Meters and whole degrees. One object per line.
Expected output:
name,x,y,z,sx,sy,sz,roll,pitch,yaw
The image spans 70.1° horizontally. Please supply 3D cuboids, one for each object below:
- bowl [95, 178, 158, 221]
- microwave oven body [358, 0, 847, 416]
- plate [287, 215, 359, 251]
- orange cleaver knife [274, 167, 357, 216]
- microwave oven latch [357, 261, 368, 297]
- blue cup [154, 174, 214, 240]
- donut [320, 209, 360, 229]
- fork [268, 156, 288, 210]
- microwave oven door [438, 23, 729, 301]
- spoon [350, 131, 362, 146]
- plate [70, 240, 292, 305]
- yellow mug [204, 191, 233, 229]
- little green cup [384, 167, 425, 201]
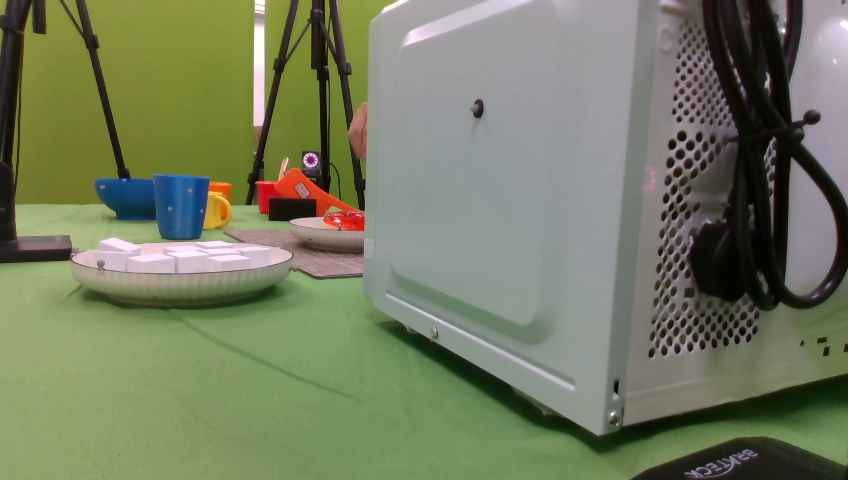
bowl,-0.576,-0.081,1.217,0.151,0.077,0.151,3,8,0
microwave oven body,0.211,-0.046,0.474,0.444,0.260,0.324,-1,7,-28
plate,-0.111,-0.012,0.960,0.209,0.038,0.209,3,8,0
orange cleaver knife,-0.238,-0.090,1.381,0.212,0.077,0.012,31,0,-19
microwave oven latch,-0.019,0.033,0.531,0.079,0.029,0.030,-1,7,-28
blue cup,-0.390,-0.053,0.978,0.093,0.100,0.092,3,6,0
donut,-0.115,-0.023,0.961,0.099,0.048,0.099,5,8,0
fork,-0.360,-0.144,1.508,0.028,0.018,0.207,2,49,0
microwave oven door,0.181,-0.072,0.620,0.358,0.243,0.039,-2,8,-29
spoon,-0.092,-0.146,1.012,0.042,0.021,0.193,-1,35,-23
plate,-0.242,0.031,0.618,0.208,0.039,0.207,2,8,0
yellow mug,-0.415,-0.057,1.132,0.130,0.064,0.100,6,8,16
little green cup,-0.028,-0.085,0.928,0.061,0.038,0.061,-17,-1,0
